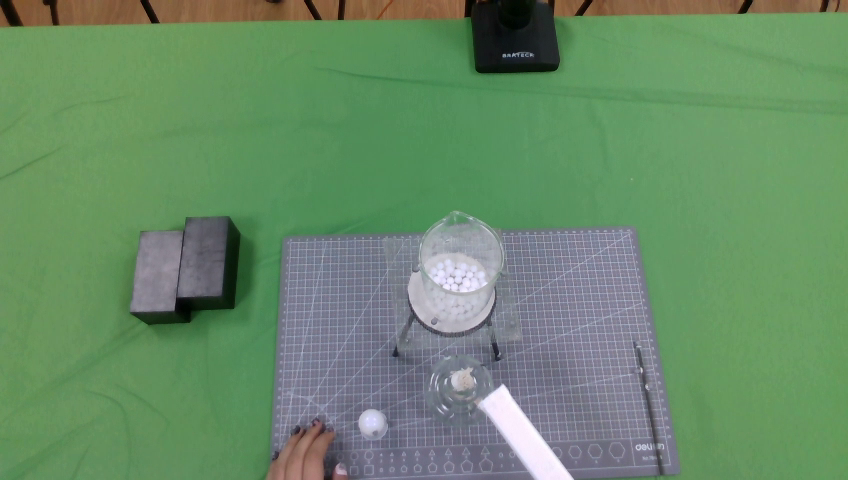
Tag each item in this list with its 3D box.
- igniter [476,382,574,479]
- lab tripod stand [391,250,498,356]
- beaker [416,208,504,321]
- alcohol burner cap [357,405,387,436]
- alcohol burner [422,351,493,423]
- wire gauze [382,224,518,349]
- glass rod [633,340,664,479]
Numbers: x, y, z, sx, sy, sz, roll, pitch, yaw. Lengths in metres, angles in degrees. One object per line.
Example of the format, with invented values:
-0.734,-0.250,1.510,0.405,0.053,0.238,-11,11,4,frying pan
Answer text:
0.141,0.250,0.545,0.057,0.025,0.275,-37,78,-2,igniter
0.024,0.072,0.665,0.148,0.132,0.147,0,67,1,lab tripod stand
0.029,0.027,0.560,0.074,0.101,0.083,-5,66,-3,beaker
-0.058,0.196,0.663,0.034,0.048,0.033,0,68,-1,alcohol burner cap
0.036,0.152,0.644,0.078,0.120,0.077,0,66,0,alcohol burner
0.024,0.044,0.604,0.125,0.011,0.120,-6,66,-2,wire gauze
0.256,0.211,0.683,0.008,0.008,0.198,-2,68,-3,glass rod
